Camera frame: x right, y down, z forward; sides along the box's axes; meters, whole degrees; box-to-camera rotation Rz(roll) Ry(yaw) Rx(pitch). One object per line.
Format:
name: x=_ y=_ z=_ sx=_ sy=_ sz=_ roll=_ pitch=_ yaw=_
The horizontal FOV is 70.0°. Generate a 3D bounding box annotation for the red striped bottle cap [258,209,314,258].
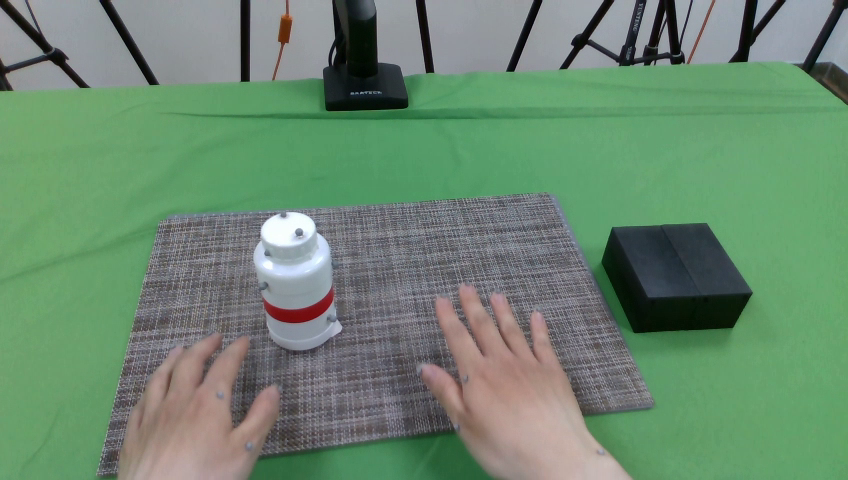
red striped bottle cap: x=-0.112 y=-0.006 z=0.491 sx=0.044 sy=0.018 sz=0.044 roll=4 pitch=41 yaw=-3

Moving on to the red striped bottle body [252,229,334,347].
red striped bottle body: x=-0.113 y=0.033 z=0.527 sx=0.063 sy=0.121 sz=0.062 roll=2 pitch=42 yaw=-1
